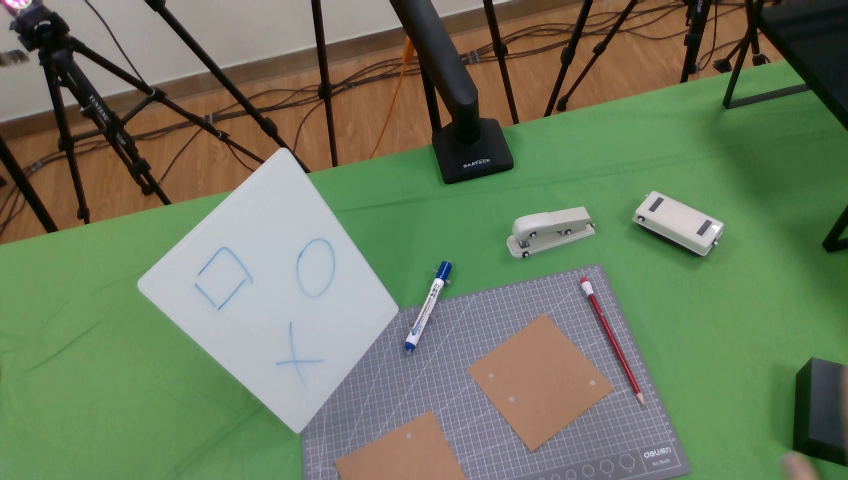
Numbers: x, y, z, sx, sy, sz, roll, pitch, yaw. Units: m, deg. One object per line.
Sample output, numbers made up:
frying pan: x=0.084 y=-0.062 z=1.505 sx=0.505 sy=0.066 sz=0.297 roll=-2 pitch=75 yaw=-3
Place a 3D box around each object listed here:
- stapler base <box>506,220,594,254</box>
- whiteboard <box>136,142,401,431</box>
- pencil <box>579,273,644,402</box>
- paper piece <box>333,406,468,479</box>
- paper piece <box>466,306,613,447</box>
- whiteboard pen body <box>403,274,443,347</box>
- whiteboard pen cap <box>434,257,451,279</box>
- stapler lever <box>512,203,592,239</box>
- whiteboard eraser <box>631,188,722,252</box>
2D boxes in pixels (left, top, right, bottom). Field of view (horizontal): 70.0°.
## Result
stapler base: x=0.187 y=-0.017 z=0.901 sx=0.131 sy=0.024 sz=0.041 roll=-17 pitch=57 yaw=-6
whiteboard: x=-0.204 y=0.053 z=0.773 sx=0.142 sy=0.309 sz=0.216 roll=17 pitch=58 yaw=44
pencil: x=0.246 y=0.124 z=0.798 sx=0.012 sy=0.012 sz=0.192 roll=-16 pitch=57 yaw=-3
paper piece: x=-0.024 y=0.286 z=0.727 sx=0.135 sy=0.004 sz=0.134 roll=-25 pitch=56 yaw=-10
paper piece: x=0.146 y=0.172 z=0.782 sx=0.136 sy=0.009 sz=0.137 roll=-34 pitch=59 yaw=-10
whiteboard pen body: x=0.004 y=0.087 z=0.856 sx=0.017 sy=0.017 sz=0.140 roll=15 pitch=58 yaw=18
whiteboard pen cap: x=0.027 y=0.042 z=0.883 sx=0.018 sy=0.018 sz=0.033 roll=13 pitch=58 yaw=17
stapler lever: x=0.186 y=-0.032 z=0.881 sx=0.118 sy=0.040 sz=0.026 roll=-17 pitch=57 yaw=-5
whiteboard eraser: x=0.361 y=-0.028 z=0.870 sx=0.112 sy=0.042 sz=0.055 roll=32 pitch=67 yaw=26
